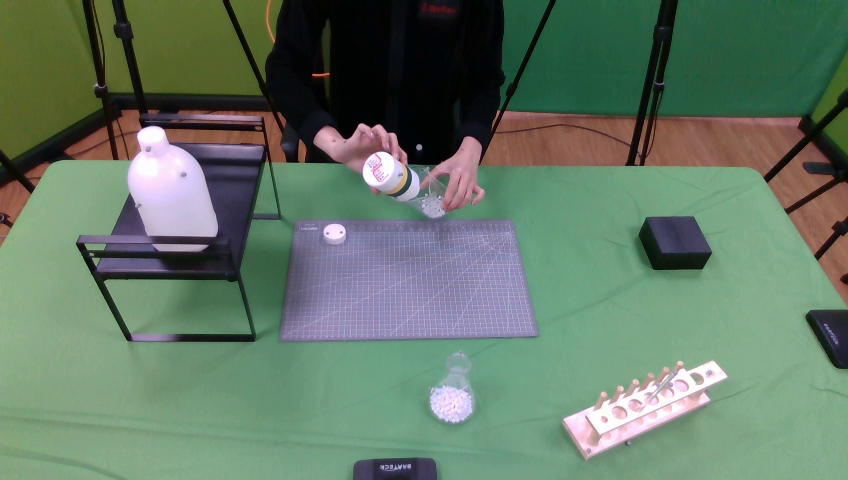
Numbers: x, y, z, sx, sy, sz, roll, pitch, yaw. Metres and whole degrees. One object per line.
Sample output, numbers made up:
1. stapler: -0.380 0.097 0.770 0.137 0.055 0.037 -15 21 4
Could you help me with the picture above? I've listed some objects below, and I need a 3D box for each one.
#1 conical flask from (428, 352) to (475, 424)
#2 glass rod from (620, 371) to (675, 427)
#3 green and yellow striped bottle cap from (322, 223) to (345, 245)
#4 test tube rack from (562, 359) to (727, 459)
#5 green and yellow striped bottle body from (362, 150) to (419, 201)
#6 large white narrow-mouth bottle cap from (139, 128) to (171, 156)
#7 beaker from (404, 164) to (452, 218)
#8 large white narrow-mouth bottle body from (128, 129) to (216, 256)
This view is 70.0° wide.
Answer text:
1. conical flask: 0.046 0.220 0.920 0.075 0.122 0.075 2 46 -2
2. glass rod: 0.316 0.230 0.863 0.008 0.200 0.008 3 54 -3
3. green and yellow striped bottle cap: -0.178 -0.013 1.197 0.045 0.020 0.045 2 48 -2
4. test tube rack: 0.341 0.247 0.940 0.243 0.085 0.066 -16 49 -19
5. green and yellow striped bottle body: -0.053 -0.108 1.068 0.063 0.120 0.063 -7 73 26
6. large white narrow-mouth bottle cap: -0.359 -0.131 0.808 0.038 0.024 0.037 3 47 -3
7. beaker: 0.005 -0.088 1.148 0.083 0.101 0.074 38 93 36
8. large white narrow-mouth bottle body: -0.366 -0.073 0.872 0.102 0.195 0.101 3 47 -3
